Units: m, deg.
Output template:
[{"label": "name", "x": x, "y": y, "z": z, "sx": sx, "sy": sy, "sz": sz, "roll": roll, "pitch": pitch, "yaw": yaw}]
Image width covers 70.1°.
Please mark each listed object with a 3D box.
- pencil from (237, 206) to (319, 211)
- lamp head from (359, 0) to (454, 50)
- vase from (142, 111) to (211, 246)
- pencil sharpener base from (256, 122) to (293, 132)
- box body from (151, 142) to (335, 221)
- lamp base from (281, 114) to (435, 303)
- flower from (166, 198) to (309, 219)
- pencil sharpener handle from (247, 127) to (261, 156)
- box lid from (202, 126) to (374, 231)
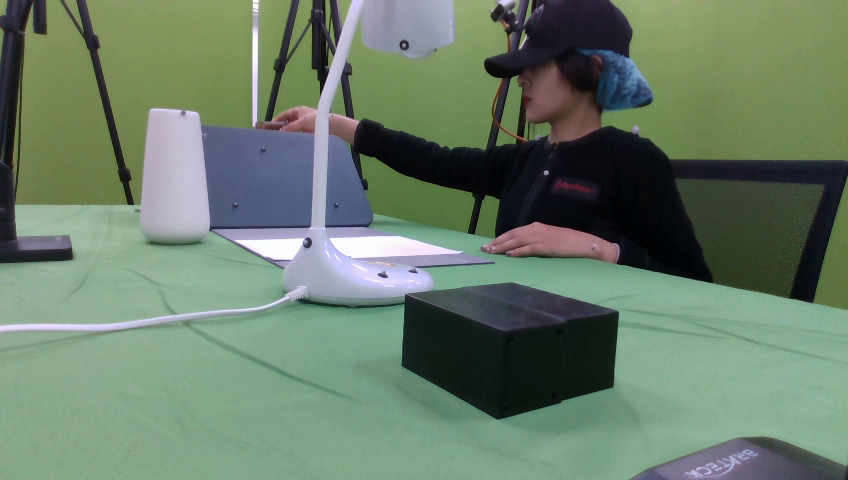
[{"label": "pencil", "x": -0.346, "y": -0.073, "z": 1.436, "sx": 0.194, "sy": 0.012, "sz": 0.012, "roll": 1, "pitch": 7, "yaw": -3}, {"label": "lamp head", "x": -0.024, "y": -0.283, "z": 0.674, "sx": 0.112, "sy": 0.123, "sz": 0.112, "roll": -3, "pitch": 38, "yaw": 3}, {"label": "vase", "x": -0.378, "y": -0.093, "z": 0.920, "sx": 0.098, "sy": 0.200, "sz": 0.098, "roll": 2, "pitch": 9, "yaw": 0}, {"label": "pencil sharpener base", "x": -0.358, "y": -0.225, "z": 1.445, "sx": 0.077, "sy": 0.107, "sz": 0.061, "roll": -11, "pitch": 17, "yaw": -35}, {"label": "box body", "x": -0.413, "y": -0.134, "z": 1.379, "sx": 0.366, "sy": 0.160, "sz": 0.253, "roll": -2, "pitch": 9, "yaw": -31}, {"label": "lamp base", "x": -0.071, "y": -0.035, "z": 0.614, "sx": 0.160, "sy": 0.180, "sz": 0.180, "roll": 6, "pitch": 10, "yaw": 27}, {"label": "flower", "x": -0.399, "y": -0.061, "z": 1.357, "sx": 0.044, "sy": 0.038, "sz": 0.364, "roll": -36, "pitch": -23, "yaw": 32}, {"label": "pencil sharpener handle", "x": -0.400, "y": -0.229, "z": 1.413, "sx": 0.031, "sy": 0.068, "sz": 0.036, "roll": -11, "pitch": 19, "yaw": -35}, {"label": "box lid", "x": -0.296, "y": -0.128, "z": 1.234, "sx": 0.373, "sy": 0.262, "sz": 0.015, "roll": -2, "pitch": -35, "yaw": -32}]
